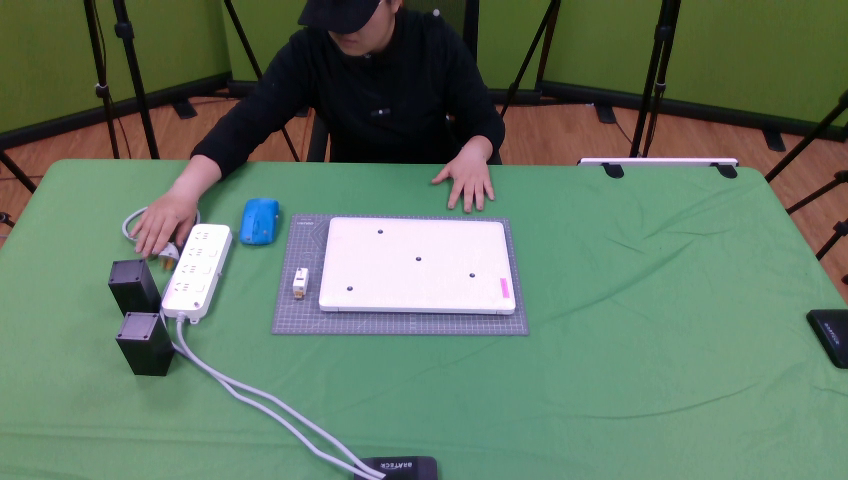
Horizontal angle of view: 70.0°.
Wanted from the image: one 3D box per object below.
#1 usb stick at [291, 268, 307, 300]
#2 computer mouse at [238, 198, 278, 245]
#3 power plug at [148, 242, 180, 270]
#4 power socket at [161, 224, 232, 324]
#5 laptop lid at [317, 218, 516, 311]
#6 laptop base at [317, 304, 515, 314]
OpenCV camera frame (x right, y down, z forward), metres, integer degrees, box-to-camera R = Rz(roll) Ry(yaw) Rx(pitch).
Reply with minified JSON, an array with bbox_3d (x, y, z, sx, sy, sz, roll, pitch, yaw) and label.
[{"bbox_3d":[-0.227,0.081,1.094,0.021,0.027,0.059,4,48,-2],"label":"usb stick"},{"bbox_3d":[-0.328,-0.039,1.200,0.063,0.041,0.116,4,50,-4],"label":"computer mouse"},{"bbox_3d":[-0.486,0.032,1.132,0.072,0.035,0.052,-4,65,31],"label":"power plug"},{"bbox_3d":[-0.412,0.053,1.106,0.072,0.033,0.225,4,46,-1],"label":"power socket"},{"bbox_3d":[-0.013,0.040,1.143,0.357,0.013,0.240,3,43,-2],"label":"laptop lid"},{"bbox_3d":[-0.014,0.050,1.150,0.354,0.023,0.234,1,42,-3],"label":"laptop base"}]
